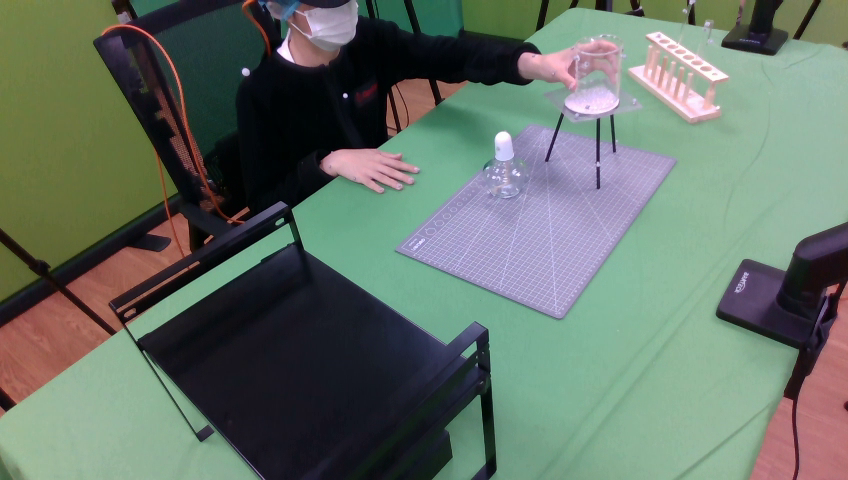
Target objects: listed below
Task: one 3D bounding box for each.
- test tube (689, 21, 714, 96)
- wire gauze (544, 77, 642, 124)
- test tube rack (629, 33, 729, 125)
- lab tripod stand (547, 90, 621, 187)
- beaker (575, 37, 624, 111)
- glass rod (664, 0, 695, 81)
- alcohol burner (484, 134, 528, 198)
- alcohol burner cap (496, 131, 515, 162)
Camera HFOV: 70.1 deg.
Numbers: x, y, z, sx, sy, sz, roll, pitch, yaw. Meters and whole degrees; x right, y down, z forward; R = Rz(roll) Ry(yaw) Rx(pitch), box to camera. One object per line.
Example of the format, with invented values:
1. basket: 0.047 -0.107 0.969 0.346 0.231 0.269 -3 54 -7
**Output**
1. test tube: 0.541 -0.353 1.184 0.017 0.151 0.017 -2 40 2
2. wire gauze: 0.282 -0.235 1.021 0.125 0.011 0.120 -16 39 -4
3. test tube rack: 0.516 -0.337 1.247 0.067 0.085 0.240 -14 41 -7
4. lab tripod stand: 0.289 -0.184 1.062 0.148 0.132 0.147 -6 41 6
5. beaker: 0.282 -0.271 0.987 0.074 0.101 0.083 -10 40 0
6. glass rod: 0.524 -0.415 1.234 0.008 0.200 0.008 1 46 0
7. alcohol burner: 0.141 -0.133 1.041 0.078 0.119 0.077 -5 43 5
8. alcohol burner cap: 0.135 -0.160 1.019 0.034 0.048 0.033 -7 38 6
